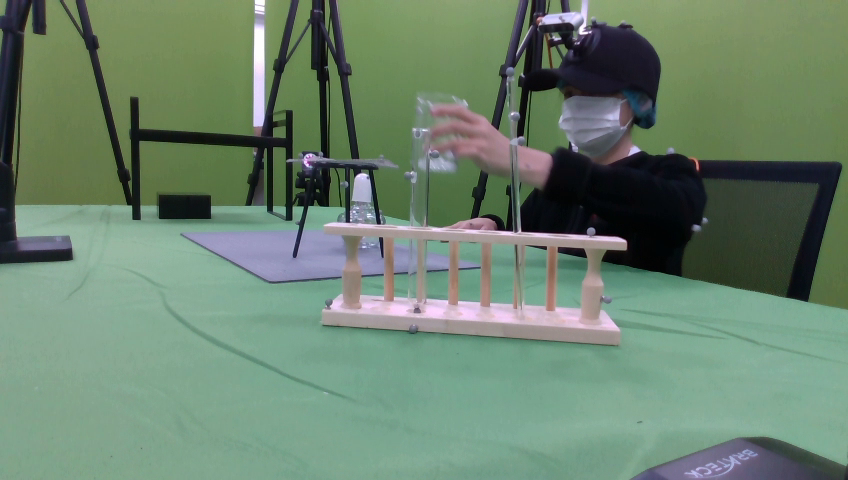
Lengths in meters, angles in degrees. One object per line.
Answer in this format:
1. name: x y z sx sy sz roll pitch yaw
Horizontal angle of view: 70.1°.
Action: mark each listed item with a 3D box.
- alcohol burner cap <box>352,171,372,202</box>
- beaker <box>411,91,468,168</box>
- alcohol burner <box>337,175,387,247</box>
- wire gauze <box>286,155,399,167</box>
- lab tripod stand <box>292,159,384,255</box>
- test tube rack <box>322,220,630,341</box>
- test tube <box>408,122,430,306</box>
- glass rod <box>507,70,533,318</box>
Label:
1. alcohol burner cap: -0.096 -0.084 0.951 0.034 0.048 0.034 6 4 0
2. beaker: 0.022 -0.154 0.861 0.083 0.100 0.074 8 4 33
3. alcohol burner: -0.098 -0.049 0.954 0.078 0.119 0.078 0 7 0
4. wire gauze: -0.101 -0.105 0.788 0.121 0.011 0.125 4 6 6
5. lab tripod stand: -0.105 -0.039 0.797 0.148 0.131 0.148 2 5 0
6. test tube rack: 0.041 0.029 0.512 0.242 0.085 0.067 3 7 5
7. test tube: -0.004 -0.019 0.489 0.017 0.150 0.017 1 11 0
8. glass rod: 0.076 -0.031 0.476 0.008 0.199 0.008 -6 12 2
